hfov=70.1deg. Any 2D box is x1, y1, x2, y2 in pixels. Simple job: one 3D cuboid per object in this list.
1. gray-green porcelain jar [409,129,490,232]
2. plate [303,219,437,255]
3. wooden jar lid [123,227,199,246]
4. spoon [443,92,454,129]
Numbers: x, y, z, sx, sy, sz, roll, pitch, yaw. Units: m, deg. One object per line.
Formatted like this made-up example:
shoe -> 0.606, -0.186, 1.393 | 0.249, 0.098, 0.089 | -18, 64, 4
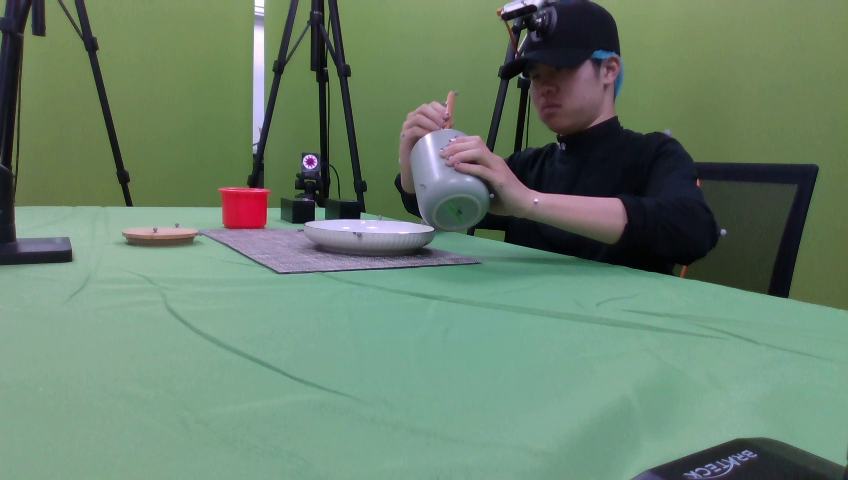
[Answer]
gray-green porcelain jar -> 0.037, -0.083, 0.890 | 0.106, 0.106, 0.126 | 1, 47, -13
plate -> -0.084, -0.005, 0.952 | 0.208, 0.039, 0.207 | 3, 7, 0
wooden jar lid -> -0.408, -0.006, 0.942 | 0.108, 0.020, 0.108 | 3, 6, 0
spoon -> 0.031, -0.174, 0.971 | 0.041, 0.022, 0.193 | -14, 42, 27
